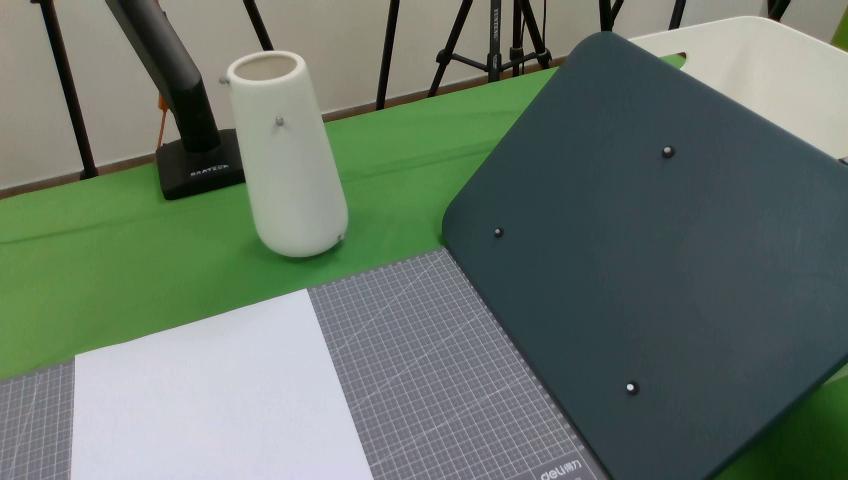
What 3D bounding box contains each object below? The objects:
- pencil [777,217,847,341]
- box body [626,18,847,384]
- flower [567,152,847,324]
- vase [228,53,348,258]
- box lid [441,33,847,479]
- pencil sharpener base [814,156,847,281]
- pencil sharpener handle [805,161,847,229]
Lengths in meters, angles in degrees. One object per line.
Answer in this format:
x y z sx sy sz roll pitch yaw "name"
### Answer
0.366 0.038 0.563 0.012 0.012 0.192 2 38 7 "pencil"
0.327 -0.059 0.579 0.254 0.162 0.359 -17 42 -15 "box body"
0.296 0.003 0.617 0.358 0.038 0.044 38 19 31 "flower"
-0.136 -0.078 0.603 0.098 0.202 0.097 -3 40 3 "vase"
0.164 -0.005 0.502 0.015 0.263 0.367 24 22 -40 "box lid"
0.398 -0.018 0.536 0.061 0.108 0.076 -15 21 -16 "pencil sharpener base"
0.380 -0.044 0.577 0.036 0.068 0.030 -18 22 -14 "pencil sharpener handle"
